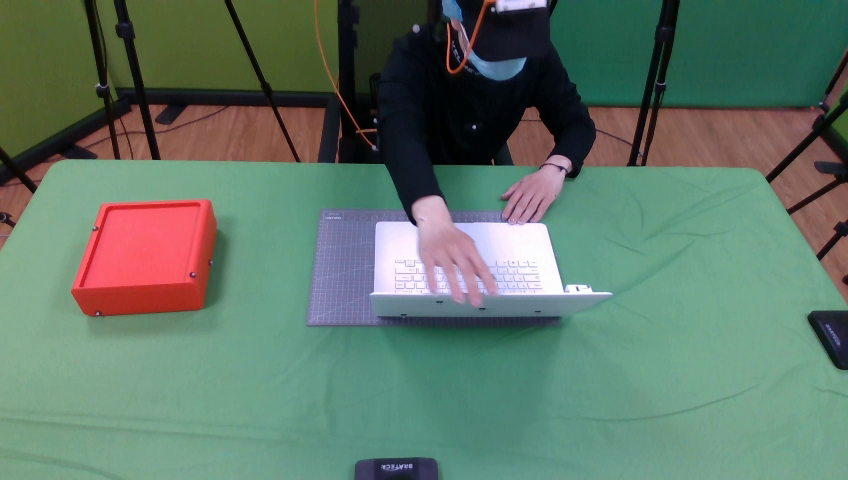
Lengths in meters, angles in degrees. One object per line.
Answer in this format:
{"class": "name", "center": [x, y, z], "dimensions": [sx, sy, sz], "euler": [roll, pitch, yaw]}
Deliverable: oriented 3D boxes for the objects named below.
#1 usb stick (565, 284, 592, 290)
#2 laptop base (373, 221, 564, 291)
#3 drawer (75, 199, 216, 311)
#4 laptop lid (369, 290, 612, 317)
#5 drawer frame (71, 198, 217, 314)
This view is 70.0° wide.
{"class": "usb stick", "center": [0.276, 0.095, 1.113], "dimensions": [0.059, 0.027, 0.021], "euler": [-1, 46, -6]}
{"class": "laptop base", "center": [0.080, 0.049, 1.158], "dimensions": [0.355, 0.023, 0.234], "euler": [0, 43, -4]}
{"class": "drawer", "center": [-0.494, 0.023, 1.098], "dimensions": [0.195, 0.073, 0.210], "euler": [-2, 47, -8]}
{"class": "laptop lid", "center": [0.091, 0.104, 0.965], "dimensions": [0.357, 0.242, 0.013], "euler": [1, 75, -5]}
{"class": "drawer frame", "center": [-0.493, 0.024, 1.096], "dimensions": [0.202, 0.083, 0.212], "euler": [-3, 47, -8]}
